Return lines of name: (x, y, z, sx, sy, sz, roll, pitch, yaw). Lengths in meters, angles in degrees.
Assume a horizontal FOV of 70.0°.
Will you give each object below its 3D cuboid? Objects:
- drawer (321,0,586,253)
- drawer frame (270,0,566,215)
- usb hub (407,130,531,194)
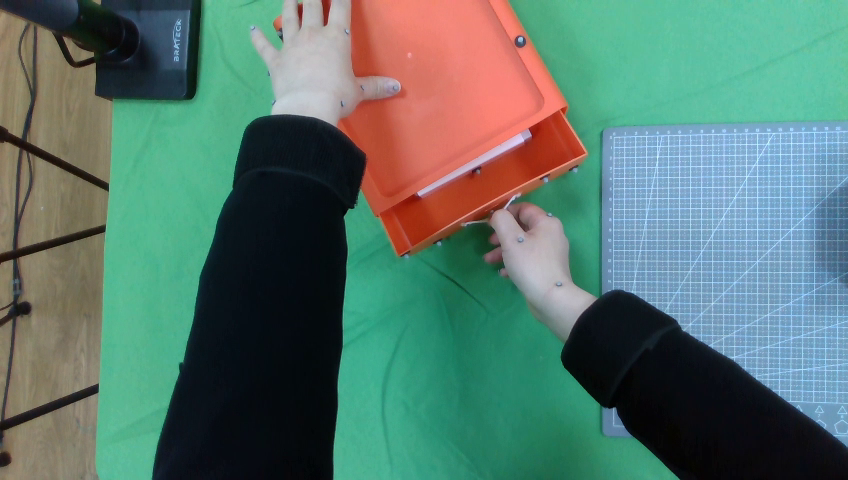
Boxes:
drawer: (0.016, -0.121, 0.578, 0.194, 0.073, 0.211, -28, 86, 9)
drawer frame: (-0.006, -0.161, 0.579, 0.201, 0.083, 0.213, -30, 85, 8)
usb hub: (0.037, -0.084, 0.589, 0.125, 0.025, 0.049, -14, 89, 14)
